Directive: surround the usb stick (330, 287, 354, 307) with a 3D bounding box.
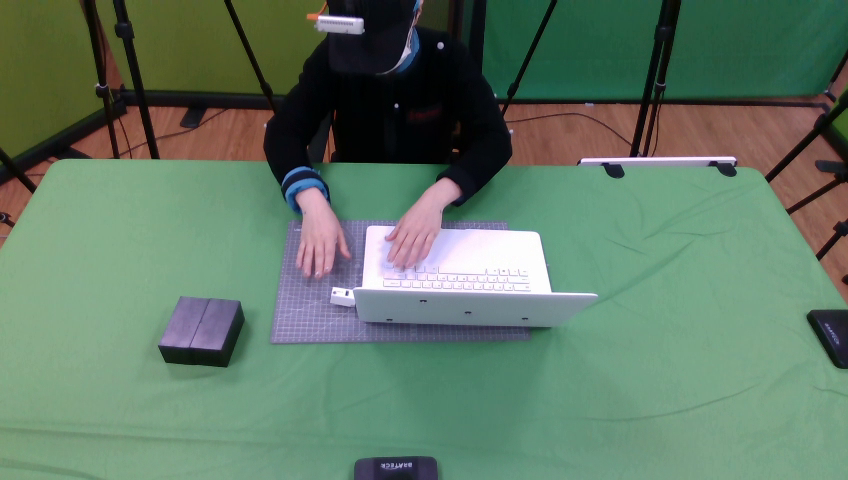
[{"bbox_3d":[-0.135,0.101,1.068,0.059,0.027,0.021,13,43,-9],"label":"usb stick"}]

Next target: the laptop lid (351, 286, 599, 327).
[{"bbox_3d":[0.068,0.109,0.952,0.357,0.242,0.013,2,71,-4],"label":"laptop lid"}]

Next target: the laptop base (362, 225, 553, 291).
[{"bbox_3d":[0.061,0.063,1.145,0.354,0.023,0.234,2,43,-3],"label":"laptop base"}]
